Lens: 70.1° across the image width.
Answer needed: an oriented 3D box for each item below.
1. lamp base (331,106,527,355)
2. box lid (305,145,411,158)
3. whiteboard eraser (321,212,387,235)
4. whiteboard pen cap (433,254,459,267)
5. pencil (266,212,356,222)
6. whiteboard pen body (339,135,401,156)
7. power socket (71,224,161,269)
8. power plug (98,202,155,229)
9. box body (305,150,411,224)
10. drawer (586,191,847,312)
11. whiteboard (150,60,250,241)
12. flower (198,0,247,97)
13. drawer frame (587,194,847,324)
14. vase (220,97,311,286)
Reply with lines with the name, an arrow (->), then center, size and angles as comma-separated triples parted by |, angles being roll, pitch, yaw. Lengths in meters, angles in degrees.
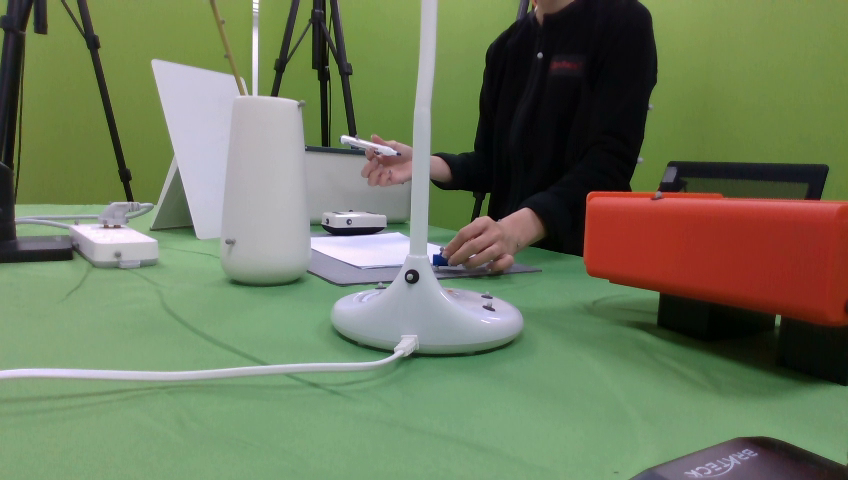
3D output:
lamp base -> 0.006, -0.012, 0.478 | 0.161, 0.180, 0.179 | 2, 10, 2
box lid -> -0.228, -0.200, 1.362 | 0.373, 0.015, 0.262 | -1, 8, -33
whiteboard eraser -> -0.128, -0.031, 1.108 | 0.113, 0.042, 0.055 | -3, 7, -38
whiteboard pen cap -> 0.027, 0.026, 0.764 | 0.033, 0.018, 0.018 | 2, 8, 3
pencil -> -0.244, -0.049, 1.318 | 0.195, 0.012, 0.012 | 4, 7, -12
whiteboard pen body -> -0.095, -0.164, 1.061 | 0.140, 0.017, 0.017 | 19, 16, 31
power socket -> -0.408, 0.004, 0.793 | 0.072, 0.032, 0.225 | -2, 8, -38
power plug -> -0.416, -0.027, 0.848 | 0.073, 0.052, 0.035 | 0, 8, -28
box body -> -0.230, -0.126, 1.372 | 0.366, 0.160, 0.253 | -2, 9, -33
drawer -> 0.281, 0.001, 0.513 | 0.195, 0.073, 0.210 | -1, 8, -29
whiteboard -> -0.408, -0.139, 1.093 | 0.143, 0.305, 0.218 | -15, -1, 26
flower -> -0.187, -0.133, 0.648 | 0.038, 0.362, 0.044 | -1, 21, 42
drawer frame -> 0.286, 0.004, 0.508 | 0.203, 0.082, 0.212 | -1, 6, -30
vase -> -0.172, -0.052, 0.662 | 0.098, 0.200, 0.098 | 3, 8, 0
